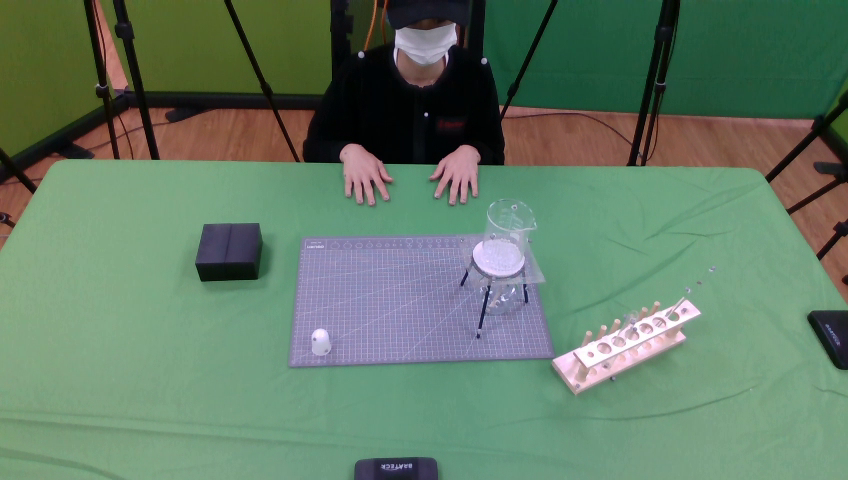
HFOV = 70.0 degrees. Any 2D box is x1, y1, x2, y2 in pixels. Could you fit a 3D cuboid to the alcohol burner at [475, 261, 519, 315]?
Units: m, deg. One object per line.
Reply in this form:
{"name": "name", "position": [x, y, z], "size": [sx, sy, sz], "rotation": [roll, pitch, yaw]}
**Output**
{"name": "alcohol burner", "position": [0.131, 0.078, 1.067], "size": [0.078, 0.119, 0.077], "rotation": [2, 47, -2]}

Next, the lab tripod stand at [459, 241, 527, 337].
{"name": "lab tripod stand", "position": [0.122, 0.075, 1.054], "size": [0.148, 0.132, 0.147], "rotation": [3, 44, -3]}

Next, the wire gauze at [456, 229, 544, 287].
{"name": "wire gauze", "position": [0.125, 0.030, 1.008], "size": [0.125, 0.011, 0.120], "rotation": [-3, 48, -11]}

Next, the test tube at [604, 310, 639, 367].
{"name": "test tube", "position": [0.310, 0.158, 0.957], "size": [0.017, 0.151, 0.017], "rotation": [1, 49, -1]}

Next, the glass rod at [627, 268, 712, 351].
{"name": "glass rod", "position": [0.400, 0.117, 0.995], "size": [0.008, 0.200, 0.008], "rotation": [26, 29, -15]}

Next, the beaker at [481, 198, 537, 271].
{"name": "beaker", "position": [0.133, -0.005, 0.974], "size": [0.084, 0.101, 0.074], "rotation": [23, 49, 16]}

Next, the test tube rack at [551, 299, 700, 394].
{"name": "test tube rack", "position": [0.339, 0.166, 1.021], "size": [0.242, 0.085, 0.066], "rotation": [-19, 50, -21]}

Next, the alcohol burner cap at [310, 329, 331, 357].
{"name": "alcohol burner cap", "position": [-0.173, 0.168, 1.005], "size": [0.034, 0.048, 0.033], "rotation": [2, 46, -2]}
